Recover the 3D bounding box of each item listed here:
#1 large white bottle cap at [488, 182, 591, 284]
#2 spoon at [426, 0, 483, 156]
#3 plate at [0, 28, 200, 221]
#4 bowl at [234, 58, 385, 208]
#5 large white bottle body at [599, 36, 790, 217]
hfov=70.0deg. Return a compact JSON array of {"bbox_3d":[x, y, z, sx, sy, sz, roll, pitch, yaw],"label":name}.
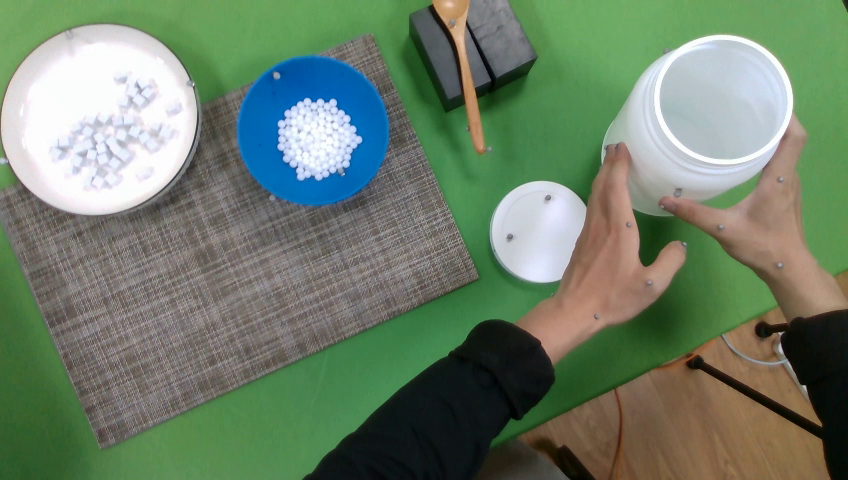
[{"bbox_3d":[0.130,-0.008,0.679,0.115,0.018,0.114,0,87,-3],"label":"large white bottle cap"},{"bbox_3d":[0.037,-0.184,0.636,0.042,0.021,0.194,-12,93,-9],"label":"spoon"},{"bbox_3d":[-0.342,-0.121,0.651,0.209,0.038,0.208,0,84,-1],"label":"plate"},{"bbox_3d":[-0.114,-0.104,0.639,0.151,0.077,0.151,0,87,-2],"label":"bowl"},{"bbox_3d":[0.245,-0.100,0.571,0.130,0.185,0.130,-1,82,6],"label":"large white bottle body"}]
